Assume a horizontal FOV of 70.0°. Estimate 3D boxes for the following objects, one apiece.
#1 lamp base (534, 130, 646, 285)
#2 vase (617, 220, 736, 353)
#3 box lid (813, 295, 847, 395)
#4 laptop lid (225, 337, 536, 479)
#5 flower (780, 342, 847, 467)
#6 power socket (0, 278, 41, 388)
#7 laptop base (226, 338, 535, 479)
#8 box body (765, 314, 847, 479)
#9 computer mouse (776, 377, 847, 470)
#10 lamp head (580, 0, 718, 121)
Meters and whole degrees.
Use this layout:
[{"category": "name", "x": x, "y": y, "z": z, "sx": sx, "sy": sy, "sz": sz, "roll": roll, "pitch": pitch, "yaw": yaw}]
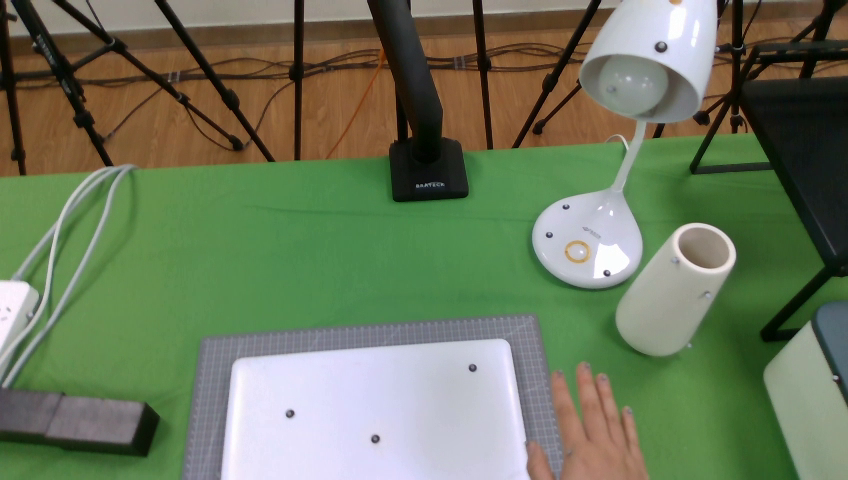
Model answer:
[{"category": "lamp base", "x": 0.248, "y": -0.056, "z": 0.832, "sx": 0.160, "sy": 0.182, "sz": 0.178, "roll": 25, "pitch": 56, "yaw": 15}, {"category": "vase", "x": 0.305, "y": 0.060, "z": 0.743, "sx": 0.098, "sy": 0.202, "sz": 0.097, "roll": 0, "pitch": 55, "yaw": 1}, {"category": "box lid", "x": 0.566, "y": 0.208, "z": 0.581, "sx": 0.263, "sy": 0.015, "sz": 0.367, "roll": -2, "pitch": 56, "yaw": -4}, {"category": "laptop lid", "x": -0.052, "y": 0.234, "z": 0.711, "sx": 0.357, "sy": 0.013, "sz": 0.239, "roll": -2, "pitch": 58, "yaw": -3}, {"category": "flower", "x": 0.488, "y": 0.285, "z": 0.668, "sx": 0.044, "sy": 0.038, "sz": 0.358, "roll": 16, "pitch": 53, "yaw": -46}, {"category": "power socket", "x": -0.560, "y": 0.146, "z": 0.763, "sx": 0.072, "sy": 0.033, "sz": 0.224, "roll": 3, "pitch": 55, "yaw": 0}, {"category": "laptop base", "x": -0.052, "y": 0.238, "z": 0.722, "sx": 0.355, "sy": 0.023, "sz": 0.233, "roll": -4, "pitch": 59, "yaw": -4}, {"category": "box body", "x": 0.565, "y": 0.252, "z": 0.641, "sx": 0.254, "sy": 0.162, "sz": 0.360, "roll": -3, "pitch": 56, "yaw": -3}, {"category": "computer mouse", "x": 0.483, "y": 0.217, "z": 0.730, "sx": 0.063, "sy": 0.041, "sz": 0.116, "roll": -9, "pitch": 49, "yaw": -2}, {"category": "lamp head", "x": 0.216, "y": -0.185, "z": 0.557, "sx": 0.112, "sy": 0.113, "sz": 0.122, "roll": 22, "pitch": 76, "yaw": 13}]
